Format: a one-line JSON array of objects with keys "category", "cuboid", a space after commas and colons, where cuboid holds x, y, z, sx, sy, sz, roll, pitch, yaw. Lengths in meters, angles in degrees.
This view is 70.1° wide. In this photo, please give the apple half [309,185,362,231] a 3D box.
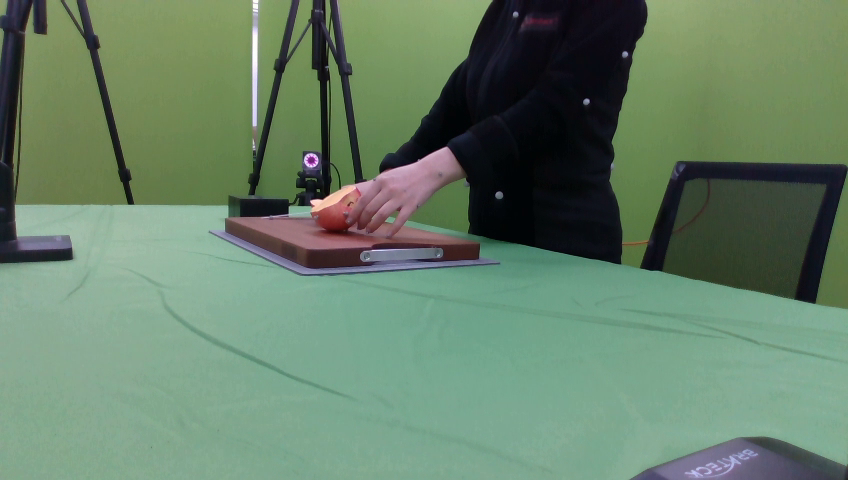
[{"category": "apple half", "cuboid": [-0.131, -0.042, 0.932, 0.074, 0.053, 0.081, -12, 25, 40]}]

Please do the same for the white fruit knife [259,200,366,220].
[{"category": "white fruit knife", "cuboid": [-0.199, -0.053, 1.113, 0.208, 0.016, 0.027, -11, 0, -29]}]

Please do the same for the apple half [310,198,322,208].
[{"category": "apple half", "cuboid": [-0.161, -0.043, 1.036, 0.081, 0.033, 0.081, 16, 15, -4]}]
